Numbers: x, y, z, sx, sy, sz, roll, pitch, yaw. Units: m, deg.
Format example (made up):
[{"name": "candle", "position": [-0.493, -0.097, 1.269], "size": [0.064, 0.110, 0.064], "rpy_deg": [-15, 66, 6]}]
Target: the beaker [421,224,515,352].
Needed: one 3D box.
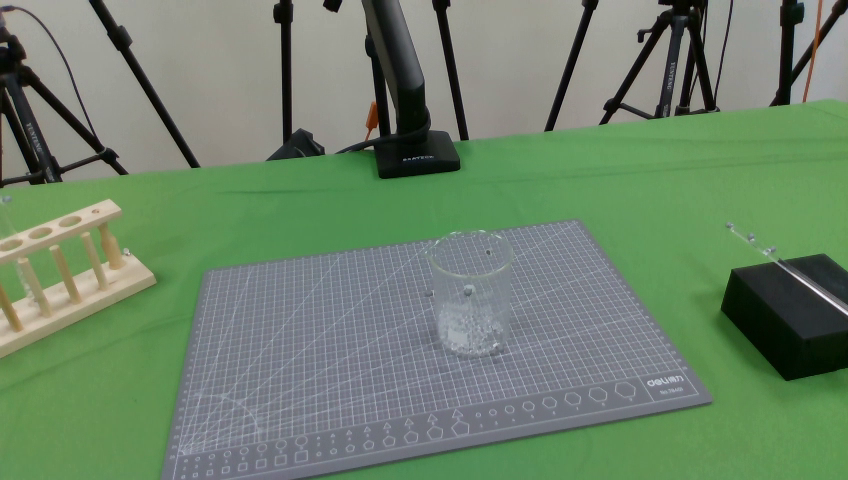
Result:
[{"name": "beaker", "position": [0.040, 0.047, 0.558], "size": [0.084, 0.101, 0.073], "rpy_deg": [5, 35, 13]}]

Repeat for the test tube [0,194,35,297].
[{"name": "test tube", "position": [-0.413, -0.009, 0.599], "size": [0.017, 0.151, 0.017], "rpy_deg": [-4, 28, 2]}]

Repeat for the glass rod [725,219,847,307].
[{"name": "glass rod", "position": [0.348, 0.030, 0.553], "size": [0.008, 0.008, 0.197], "rpy_deg": [-14, 35, -14]}]

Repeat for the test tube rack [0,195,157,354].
[{"name": "test tube rack", "position": [-0.410, 0.048, 0.606], "size": [0.242, 0.086, 0.066], "rpy_deg": [-31, 43, -34]}]
